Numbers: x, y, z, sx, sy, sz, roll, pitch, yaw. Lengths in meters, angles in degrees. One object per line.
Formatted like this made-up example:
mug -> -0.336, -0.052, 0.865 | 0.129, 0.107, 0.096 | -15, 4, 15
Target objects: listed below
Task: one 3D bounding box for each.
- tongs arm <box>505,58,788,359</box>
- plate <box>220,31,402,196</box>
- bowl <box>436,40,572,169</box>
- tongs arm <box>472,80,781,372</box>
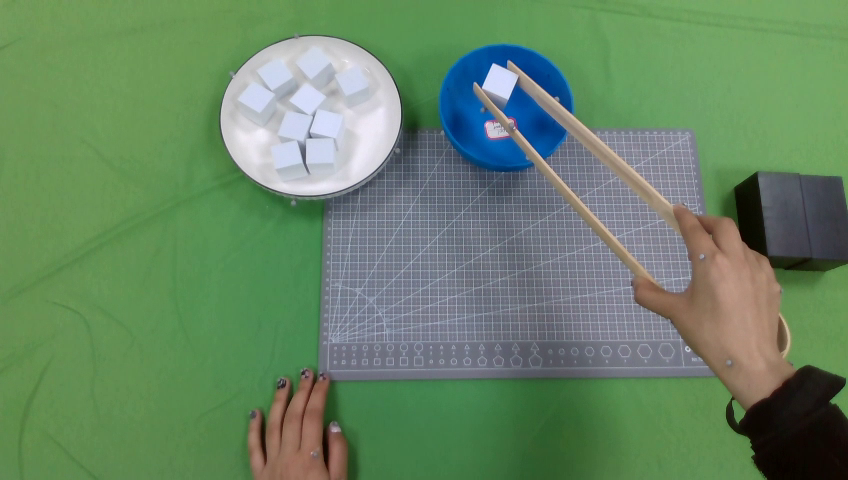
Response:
tongs arm -> 0.191, -0.049, 0.570 | 0.028, 0.028, 0.384 | -32, 65, -10
plate -> -0.129, -0.145, 0.709 | 0.208, 0.039, 0.206 | 1, 74, -2
bowl -> 0.086, -0.142, 0.697 | 0.151, 0.077, 0.150 | 1, 74, -3
tongs arm -> 0.168, -0.033, 0.568 | 0.051, 0.027, 0.381 | -31, 64, -5
